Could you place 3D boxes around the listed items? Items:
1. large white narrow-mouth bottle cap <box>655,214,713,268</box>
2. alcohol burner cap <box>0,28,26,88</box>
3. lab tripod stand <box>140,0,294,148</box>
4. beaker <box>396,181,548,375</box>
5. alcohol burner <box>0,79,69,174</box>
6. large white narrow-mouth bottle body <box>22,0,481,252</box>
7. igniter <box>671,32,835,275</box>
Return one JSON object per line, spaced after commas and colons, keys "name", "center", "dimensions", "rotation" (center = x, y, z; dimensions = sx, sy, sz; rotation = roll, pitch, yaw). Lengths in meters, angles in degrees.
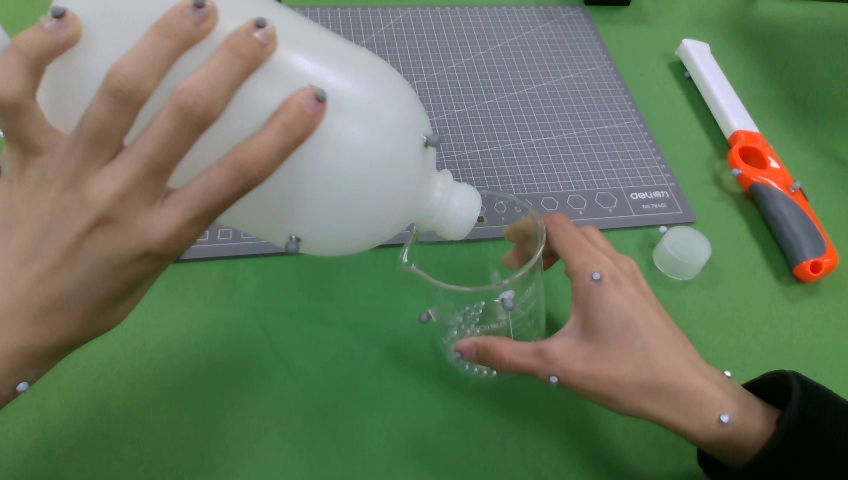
{"name": "large white narrow-mouth bottle cap", "center": [0.194, 0.001, 0.452], "dimensions": [0.038, 0.024, 0.037], "rotation": [3, 54, -3]}
{"name": "alcohol burner cap", "center": [-0.282, -0.124, 0.388], "dimensions": [0.034, 0.048, 0.033], "rotation": [2, 60, -4]}
{"name": "lab tripod stand", "center": [-0.156, -0.165, 0.460], "dimensions": [0.148, 0.132, 0.147], "rotation": [4, 54, -5]}
{"name": "beaker", "center": [0.033, 0.028, 0.359], "dimensions": [0.084, 0.101, 0.073], "rotation": [-17, 47, -2]}
{"name": "alcohol burner", "center": [-0.285, -0.104, 0.417], "dimensions": [0.078, 0.120, 0.077], "rotation": [4, 52, -5]}
{"name": "large white narrow-mouth bottle body", "center": [-0.061, -0.049, 0.282], "dimensions": [0.196, 0.102, 0.101], "rotation": [24, 50, -21]}
{"name": "igniter", "center": [0.275, -0.087, 0.520], "dimensions": [0.057, 0.025, 0.273], "rotation": [4, 53, -17]}
